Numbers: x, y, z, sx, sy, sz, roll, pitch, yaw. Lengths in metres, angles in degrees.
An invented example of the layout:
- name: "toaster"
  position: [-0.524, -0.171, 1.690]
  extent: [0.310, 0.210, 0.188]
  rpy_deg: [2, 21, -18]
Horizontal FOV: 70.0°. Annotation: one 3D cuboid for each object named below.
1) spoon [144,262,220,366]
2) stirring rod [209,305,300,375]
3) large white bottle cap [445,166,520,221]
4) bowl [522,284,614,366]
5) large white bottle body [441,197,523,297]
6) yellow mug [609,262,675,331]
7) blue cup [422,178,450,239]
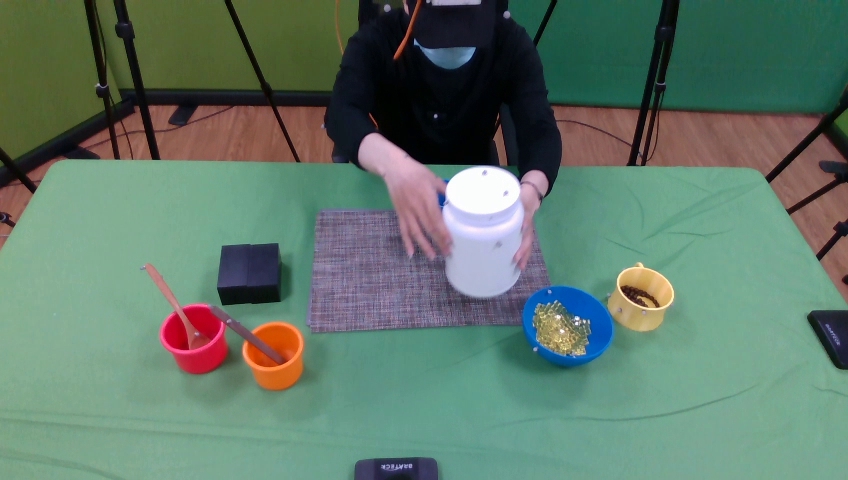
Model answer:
- name: "spoon"
  position: [-0.389, 0.118, 0.971]
  extent: [0.041, 0.021, 0.194]
  rpy_deg: [-34, 101, -33]
- name: "stirring rod"
  position: [-0.262, 0.157, 0.946]
  extent: [0.177, 0.006, 0.014]
  rpy_deg: [43, 43, -21]
- name: "large white bottle cap"
  position: [0.089, -0.073, 0.930]
  extent: [0.115, 0.018, 0.114]
  rpy_deg: [-3, 44, 3]
- name: "bowl"
  position: [0.235, 0.158, 1.022]
  extent: [0.151, 0.077, 0.150]
  rpy_deg: [2, 46, -2]
- name: "large white bottle body"
  position: [0.095, -0.012, 0.989]
  extent: [0.130, 0.185, 0.130]
  rpy_deg: [-3, 44, 3]
- name: "yellow mug"
  position: [0.393, 0.093, 1.103]
  extent: [0.100, 0.064, 0.130]
  rpy_deg: [7, 45, 3]
- name: "blue cup"
  position: [0.035, -0.056, 1.192]
  extent: [0.093, 0.101, 0.092]
  rpy_deg: [3, 46, -3]
